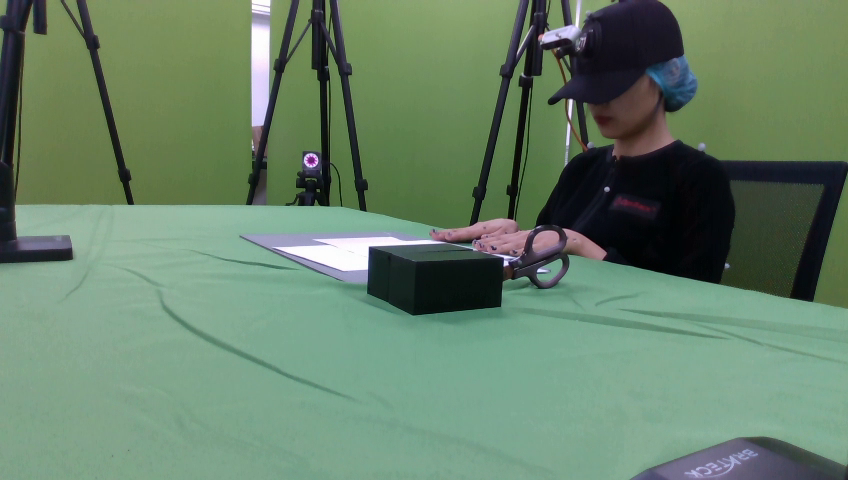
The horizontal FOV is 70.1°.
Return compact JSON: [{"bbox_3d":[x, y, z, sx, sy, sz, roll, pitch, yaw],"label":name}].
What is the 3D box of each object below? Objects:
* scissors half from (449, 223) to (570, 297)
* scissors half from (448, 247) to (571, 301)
[{"bbox_3d":[0.096,0.023,0.665,0.176,0.040,0.013,-28,20,-27],"label":"scissors half"},{"bbox_3d":[0.099,0.041,0.671,0.176,0.040,0.012,-13,19,-31],"label":"scissors half"}]
